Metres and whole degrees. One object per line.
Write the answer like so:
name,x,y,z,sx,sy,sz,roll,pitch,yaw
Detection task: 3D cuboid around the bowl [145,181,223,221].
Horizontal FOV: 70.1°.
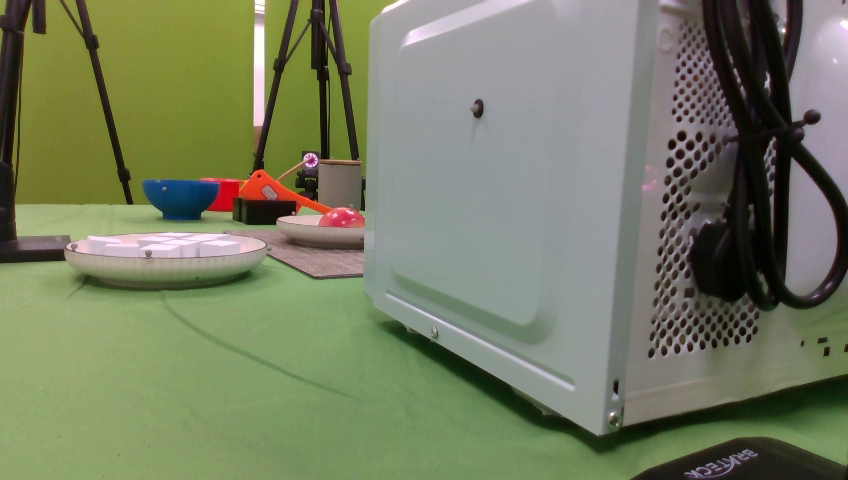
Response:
bowl,-0.499,-0.081,1.261,0.151,0.077,0.151,2,7,0

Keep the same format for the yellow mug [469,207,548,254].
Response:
yellow mug,0.136,-0.015,0.949,0.131,0.064,0.099,3,5,-19

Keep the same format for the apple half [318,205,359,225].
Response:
apple half,-0.126,-0.029,0.954,0.081,0.053,0.074,-2,11,-33

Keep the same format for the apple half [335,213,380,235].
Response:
apple half,-0.112,-0.029,1.034,0.081,0.033,0.081,0,10,0

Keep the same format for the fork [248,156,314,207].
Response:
fork,-0.360,-0.147,1.523,0.207,0.019,0.028,-43,16,-6

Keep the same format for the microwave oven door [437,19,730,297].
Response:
microwave oven door,0.181,-0.076,0.618,0.358,0.243,0.039,-2,9,-28

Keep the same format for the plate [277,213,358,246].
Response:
plate,-0.135,-0.018,0.994,0.209,0.038,0.209,2,7,0

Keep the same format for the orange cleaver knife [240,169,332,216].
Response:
orange cleaver knife,-0.287,-0.082,1.298,0.212,0.077,0.012,25,-2,-31

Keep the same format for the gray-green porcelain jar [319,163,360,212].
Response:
gray-green porcelain jar,-0.204,-0.126,1.490,0.106,0.126,0.106,2,8,0

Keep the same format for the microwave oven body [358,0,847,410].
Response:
microwave oven body,0.210,-0.051,0.471,0.444,0.260,0.324,-1,7,-28

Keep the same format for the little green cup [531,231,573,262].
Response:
little green cup,0.184,0.009,0.878,0.061,0.038,0.061,4,8,0

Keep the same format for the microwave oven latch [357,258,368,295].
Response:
microwave oven latch,-0.019,0.031,0.529,0.079,0.029,0.030,-1,7,-27

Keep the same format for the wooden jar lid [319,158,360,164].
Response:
wooden jar lid,-0.203,-0.189,1.482,0.108,0.020,0.108,2,10,0

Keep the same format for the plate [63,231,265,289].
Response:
plate,-0.288,0.021,0.687,0.208,0.039,0.207,2,8,0

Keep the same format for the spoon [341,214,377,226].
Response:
spoon,-0.132,-0.047,1.305,0.041,0.021,0.194,-14,4,14
